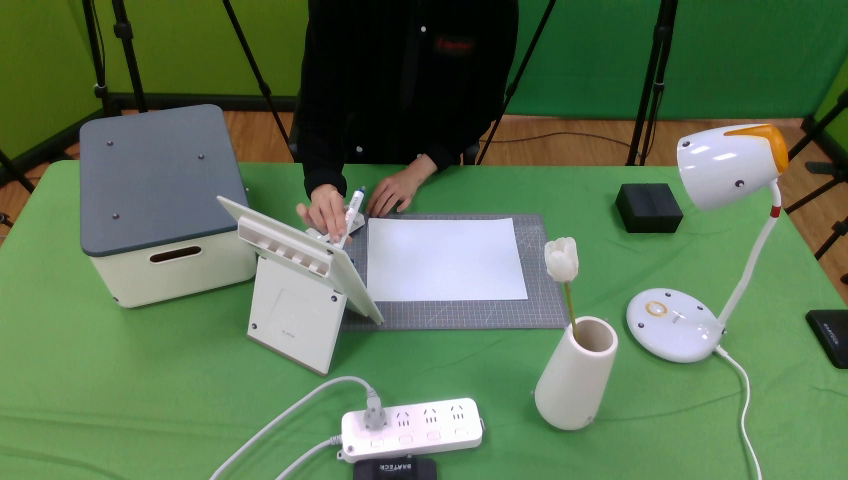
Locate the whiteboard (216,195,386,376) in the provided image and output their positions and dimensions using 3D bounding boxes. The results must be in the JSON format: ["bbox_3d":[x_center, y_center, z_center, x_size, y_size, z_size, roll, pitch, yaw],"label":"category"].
[{"bbox_3d":[-0.212,0.093,0.939,0.216,0.307,0.143,24,70,17],"label":"whiteboard"}]

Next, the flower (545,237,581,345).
[{"bbox_3d":[0.213,0.137,0.846,0.038,0.364,0.044,22,55,40],"label":"flower"}]

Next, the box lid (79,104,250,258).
[{"bbox_3d":[-0.467,-0.121,1.075,0.264,0.015,0.369,-13,49,-17],"label":"box lid"}]

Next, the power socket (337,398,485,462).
[{"bbox_3d":[-0.018,0.285,0.914,0.227,0.033,0.071,-4,46,-8],"label":"power socket"}]

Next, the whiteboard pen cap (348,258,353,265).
[{"bbox_3d":[-0.152,0.041,1.146,0.033,0.018,0.018,12,47,11],"label":"whiteboard pen cap"}]

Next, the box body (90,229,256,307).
[{"bbox_3d":[-0.471,-0.070,1.131,0.254,0.161,0.361,-14,49,-17],"label":"box body"}]

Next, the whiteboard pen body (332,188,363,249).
[{"bbox_3d":[-0.123,-0.021,0.940,0.017,0.017,0.140,14,64,9],"label":"whiteboard pen body"}]

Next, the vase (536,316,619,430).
[{"bbox_3d":[0.229,0.200,0.901,0.098,0.201,0.097,3,46,-3],"label":"vase"}]

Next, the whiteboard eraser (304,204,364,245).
[{"bbox_3d":[-0.175,-0.022,1.188,0.055,0.042,0.112,36,53,26],"label":"whiteboard eraser"}]

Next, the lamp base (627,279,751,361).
[{"bbox_3d":[0.460,0.100,1.027,0.178,0.181,0.160,27,51,17],"label":"lamp base"}]

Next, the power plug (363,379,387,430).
[{"bbox_3d":[-0.071,0.252,0.911,0.035,0.053,0.072,3,40,0],"label":"power plug"}]

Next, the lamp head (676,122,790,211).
[{"bbox_3d":[0.423,-0.104,0.819,0.122,0.113,0.112,-13,33,40],"label":"lamp head"}]
